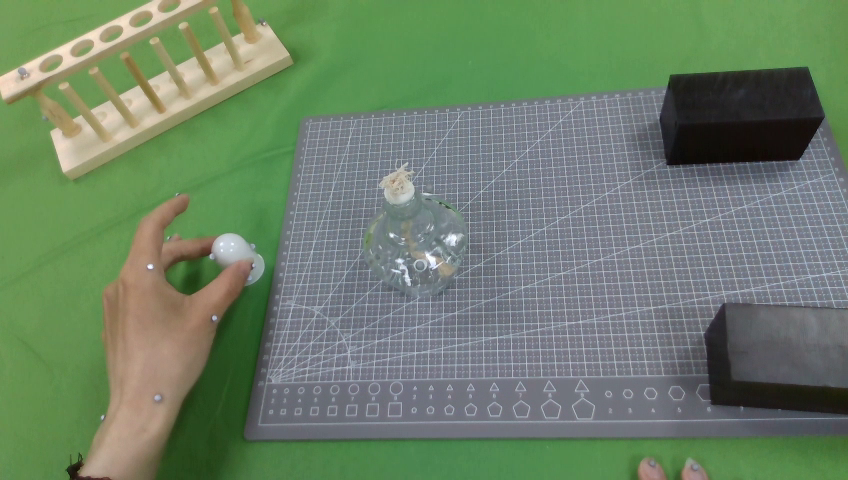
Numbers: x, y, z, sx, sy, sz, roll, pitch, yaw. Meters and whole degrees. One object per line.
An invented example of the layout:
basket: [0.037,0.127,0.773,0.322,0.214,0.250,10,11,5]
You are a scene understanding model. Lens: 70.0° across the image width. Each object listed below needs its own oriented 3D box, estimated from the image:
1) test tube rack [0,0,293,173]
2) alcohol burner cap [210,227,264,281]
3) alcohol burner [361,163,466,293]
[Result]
test tube rack: [-0.258,-0.168,0.580,0.242,0.086,0.066,-30,60,-9]
alcohol burner cap: [-0.152,0.009,0.485,0.034,0.048,0.033,-3,61,6]
alcohol burner: [-0.010,-0.012,0.429,0.078,0.120,0.077,-4,57,7]
